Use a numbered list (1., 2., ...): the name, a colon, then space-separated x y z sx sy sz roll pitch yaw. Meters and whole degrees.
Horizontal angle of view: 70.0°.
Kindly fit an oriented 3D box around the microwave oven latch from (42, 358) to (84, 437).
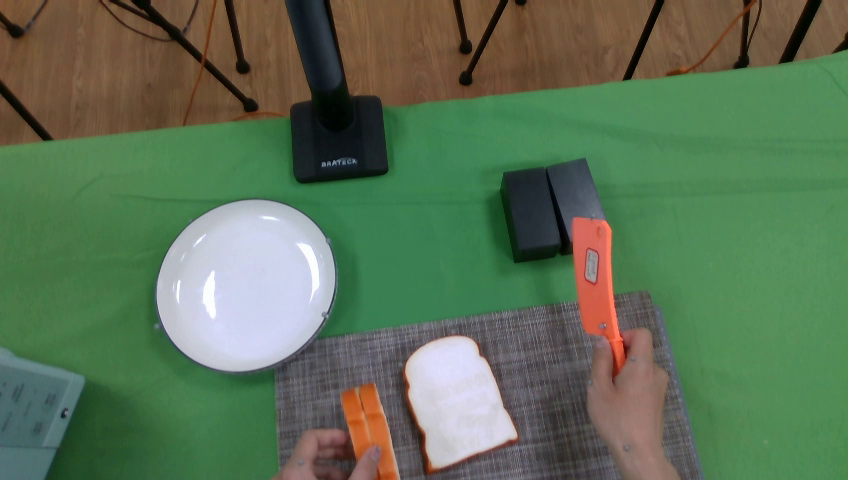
1. microwave oven latch: -0.399 0.170 0.653 0.030 0.029 0.079 15 73 5

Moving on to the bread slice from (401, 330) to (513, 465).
1. bread slice: 0.034 0.170 0.679 0.107 0.018 0.134 -14 81 -10

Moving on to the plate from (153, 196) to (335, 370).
1. plate: -0.206 0.050 0.713 0.208 0.039 0.206 0 71 0

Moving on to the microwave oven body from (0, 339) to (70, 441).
1. microwave oven body: -0.587 0.267 0.519 0.326 0.261 0.439 13 72 4

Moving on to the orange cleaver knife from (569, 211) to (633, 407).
1. orange cleaver knife: 0.185 0.068 0.645 0.012 0.077 0.210 -5 84 -19

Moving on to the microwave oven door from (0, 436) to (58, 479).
1. microwave oven door: -0.455 0.336 0.489 0.039 0.245 0.354 13 72 6
